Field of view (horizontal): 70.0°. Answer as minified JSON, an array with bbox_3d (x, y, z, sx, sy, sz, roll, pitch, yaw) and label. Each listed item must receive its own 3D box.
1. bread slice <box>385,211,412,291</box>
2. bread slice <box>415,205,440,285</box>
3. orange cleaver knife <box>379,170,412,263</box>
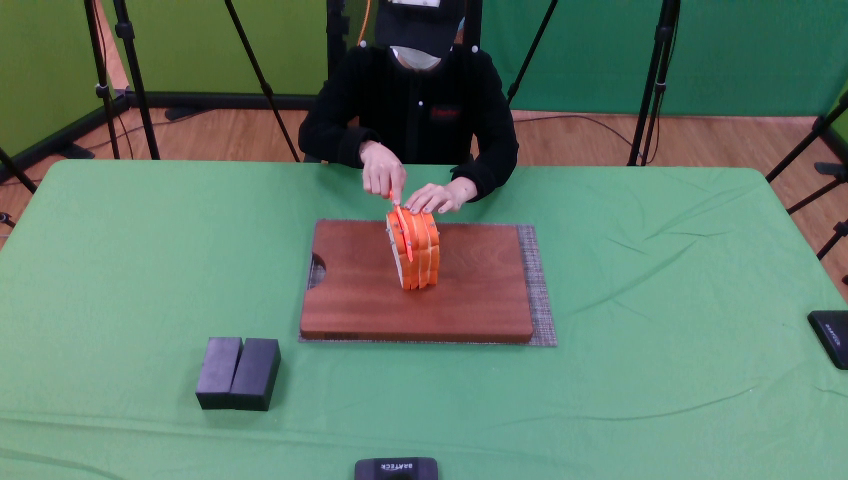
[{"bbox_3d":[-0.046,0.013,1.070,0.019,0.132,0.104,-15,49,-5],"label":"bread slice"},{"bbox_3d":[0.005,0.005,1.080,0.018,0.135,0.106,-13,53,-11],"label":"bread slice"},{"bbox_3d":[-0.050,-0.046,1.065,0.012,0.077,0.210,-12,42,-10],"label":"orange cleaver knife"}]
